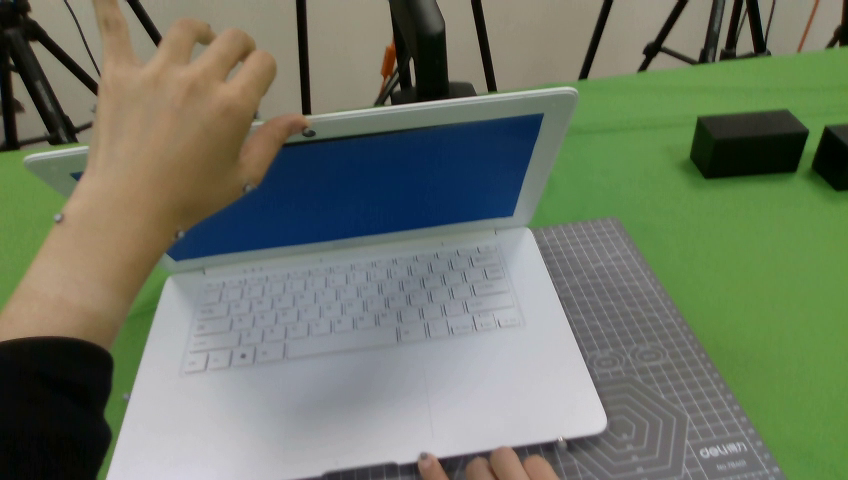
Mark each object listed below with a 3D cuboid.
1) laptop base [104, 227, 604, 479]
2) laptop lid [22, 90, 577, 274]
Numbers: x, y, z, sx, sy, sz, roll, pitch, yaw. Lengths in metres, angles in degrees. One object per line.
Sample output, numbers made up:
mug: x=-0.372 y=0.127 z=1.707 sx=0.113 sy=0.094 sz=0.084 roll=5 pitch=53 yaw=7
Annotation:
laptop base: x=-0.058 y=0.087 z=0.505 sx=0.354 sy=0.023 sz=0.233 roll=-8 pitch=42 yaw=-3
laptop lid: x=-0.073 y=-0.032 z=0.483 sx=0.357 sy=0.243 sz=0.013 roll=-8 pitch=70 yaw=-1
